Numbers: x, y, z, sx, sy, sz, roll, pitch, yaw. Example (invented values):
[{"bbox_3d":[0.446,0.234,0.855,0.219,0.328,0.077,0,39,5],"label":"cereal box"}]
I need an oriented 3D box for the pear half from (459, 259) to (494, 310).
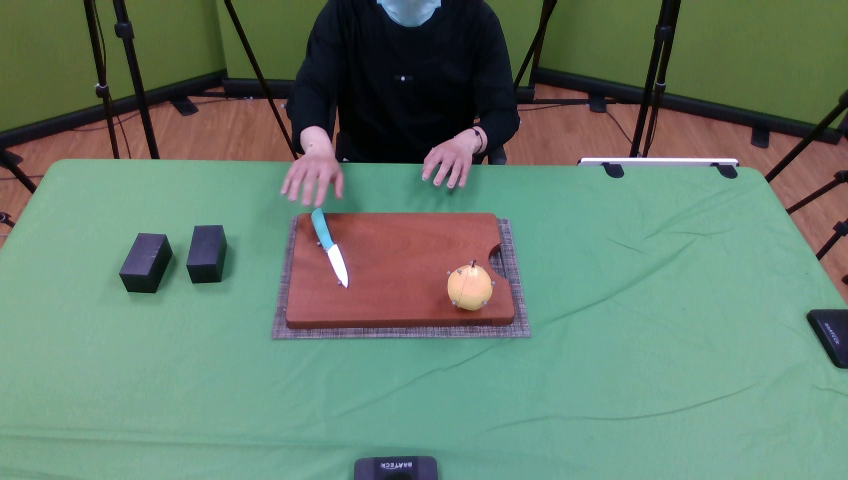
[{"bbox_3d":[0.092,0.072,1.031,0.056,0.110,0.076,7,50,3],"label":"pear half"}]

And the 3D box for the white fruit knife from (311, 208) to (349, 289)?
[{"bbox_3d":[-0.176,0.013,1.133,0.027,0.016,0.206,-23,52,-8],"label":"white fruit knife"}]

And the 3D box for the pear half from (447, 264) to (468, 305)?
[{"bbox_3d":[0.056,0.073,1.041,0.031,0.088,0.070,6,53,2],"label":"pear half"}]
